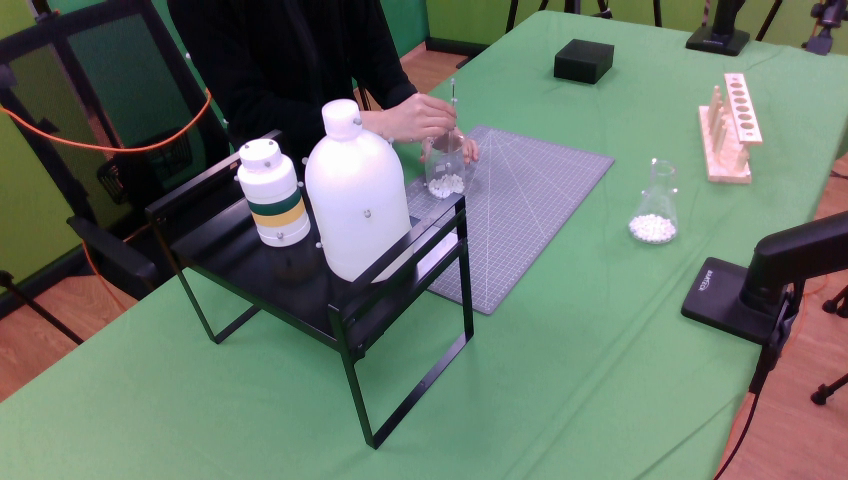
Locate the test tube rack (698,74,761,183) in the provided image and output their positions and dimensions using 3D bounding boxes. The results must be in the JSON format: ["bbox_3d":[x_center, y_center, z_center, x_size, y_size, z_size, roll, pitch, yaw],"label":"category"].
[{"bbox_3d":[0.547,-0.208,1.095,0.066,0.085,0.242,5,42,15],"label":"test tube rack"}]

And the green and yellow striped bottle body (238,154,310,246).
[{"bbox_3d":[-0.178,-0.056,0.714,0.063,0.120,0.063,-4,40,4],"label":"green and yellow striped bottle body"}]

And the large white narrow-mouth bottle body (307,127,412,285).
[{"bbox_3d":[-0.070,-0.051,0.638,0.102,0.195,0.101,-3,40,3],"label":"large white narrow-mouth bottle body"}]

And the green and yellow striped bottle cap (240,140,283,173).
[{"bbox_3d":[-0.183,-0.094,0.680,0.045,0.020,0.045,-5,38,4],"label":"green and yellow striped bottle cap"}]

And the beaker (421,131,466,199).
[{"bbox_3d":[0.039,-0.131,1.060,0.084,0.101,0.073,-23,43,-19],"label":"beaker"}]

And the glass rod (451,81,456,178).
[{"bbox_3d":[0.050,-0.182,1.031,0.008,0.200,0.008,-1,47,1],"label":"glass rod"}]

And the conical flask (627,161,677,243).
[{"bbox_3d":[0.355,-0.061,0.921,0.075,0.122,0.075,-4,41,4],"label":"conical flask"}]

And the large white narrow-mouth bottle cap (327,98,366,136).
[{"bbox_3d":[-0.075,-0.118,0.581,0.038,0.024,0.037,-3,40,3],"label":"large white narrow-mouth bottle cap"}]
